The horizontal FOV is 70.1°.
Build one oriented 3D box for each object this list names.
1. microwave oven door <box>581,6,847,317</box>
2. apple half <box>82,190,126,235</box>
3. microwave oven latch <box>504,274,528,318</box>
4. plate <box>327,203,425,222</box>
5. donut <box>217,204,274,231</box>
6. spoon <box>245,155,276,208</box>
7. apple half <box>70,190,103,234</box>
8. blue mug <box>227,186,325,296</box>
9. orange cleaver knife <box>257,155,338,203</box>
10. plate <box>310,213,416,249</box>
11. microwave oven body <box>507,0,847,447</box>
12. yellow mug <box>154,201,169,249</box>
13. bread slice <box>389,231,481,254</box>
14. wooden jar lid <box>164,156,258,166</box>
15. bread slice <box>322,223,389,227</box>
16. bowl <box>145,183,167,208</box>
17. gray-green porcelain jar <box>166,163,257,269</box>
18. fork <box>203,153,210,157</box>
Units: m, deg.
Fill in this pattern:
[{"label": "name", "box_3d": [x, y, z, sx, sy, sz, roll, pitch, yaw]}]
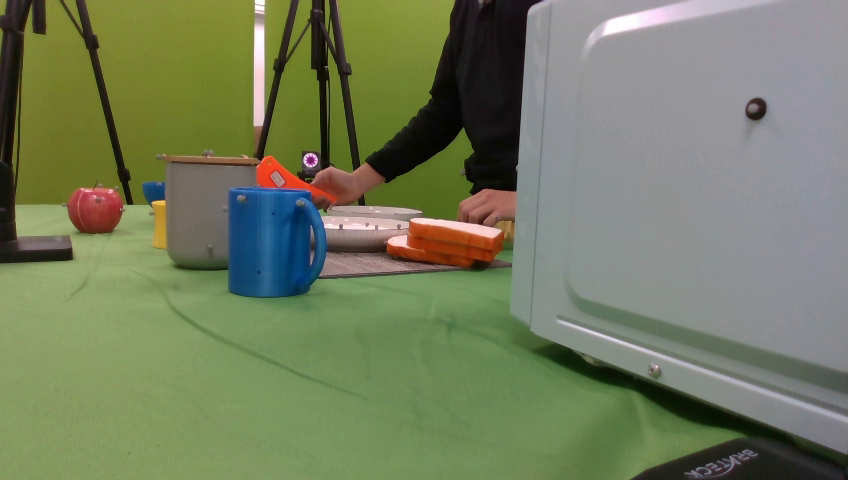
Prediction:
[{"label": "microwave oven door", "box_3d": [0.295, -0.067, 0.569, 0.358, 0.243, 0.039, -3, 8, -31]}, {"label": "apple half", "box_3d": [-0.516, -0.046, 0.994, 0.032, 0.081, 0.081, 0, 6, 26]}, {"label": "microwave oven latch", "box_3d": [0.100, 0.041, 0.471, 0.079, 0.029, 0.030, -1, 8, -28]}, {"label": "plate", "box_3d": [-0.102, -0.053, 1.299, 0.209, 0.038, 0.209, 2, 8, 0]}, {"label": "donut", "box_3d": [-0.317, -0.038, 1.080, 0.099, 0.048, 0.099, 3, 7, 0]}, {"label": "spoon", "box_3d": [-0.421, -0.150, 1.540, 0.042, 0.193, 0.021, -5, -35, -37]}, {"label": "apple half", "box_3d": [-0.552, -0.047, 1.009, 0.053, 0.074, 0.081, -1, 9, 26]}, {"label": "blue mug", "box_3d": [-0.146, 0.000, 0.618, 0.116, 0.106, 0.083, 7, 9, 32]}, {"label": "orange cleaver knife", "box_3d": [-0.282, -0.114, 1.336, 0.212, 0.077, 0.012, 29, -12, -38]}, {"label": "plate", "box_3d": [-0.117, -0.014, 0.967, 0.208, 0.039, 0.207, 2, 7, 0]}, {"label": "microwave oven body", "box_3d": [0.331, -0.042, 0.425, 0.444, 0.260, 0.324, -2, 8, -31]}, {"label": "yellow mug", "box_3d": [-0.337, -0.022, 0.899, 0.130, 0.064, 0.100, 8, 9, 34]}, {"label": "bread slice", "box_3d": [0.016, 0.003, 0.866, 0.131, 0.019, 0.105, 3, 7, 7]}, {"label": "wooden jar lid", "box_3d": [-0.261, -0.093, 0.746, 0.108, 0.020, 0.108, 1, 9, 0]}, {"label": "bread slice", "box_3d": [-0.116, -0.014, 0.975, 0.135, 0.018, 0.106, -6, 11, -42]}, {"label": "bowl", "box_3d": [-0.459, -0.068, 1.175, 0.151, 0.077, 0.151, 2, 7, 0]}, {"label": "gray-green porcelain jar", "box_3d": [-0.263, -0.031, 0.754, 0.106, 0.126, 0.106, 2, 7, 0]}, {"label": "fork", "box_3d": [-0.480, -0.135, 1.411, 0.028, 0.018, 0.207, 1, -34, 0]}]
